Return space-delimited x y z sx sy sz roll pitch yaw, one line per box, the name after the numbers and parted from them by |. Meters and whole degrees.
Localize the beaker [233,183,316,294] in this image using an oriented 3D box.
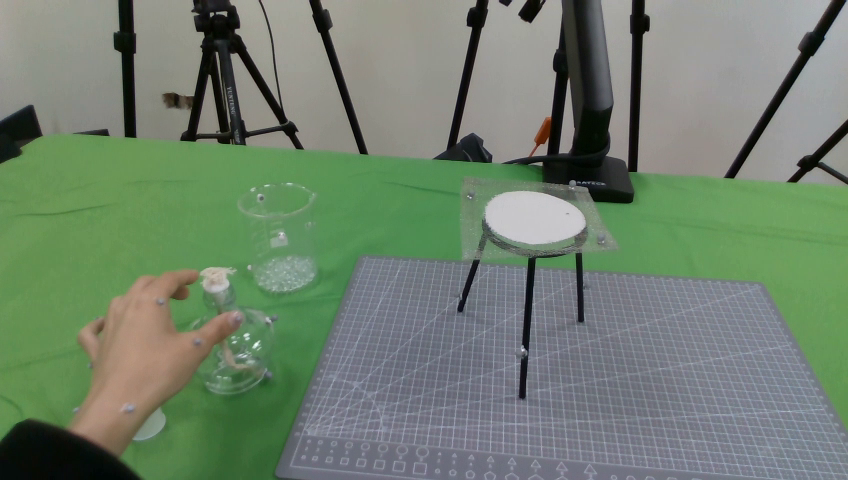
-0.152 -0.001 0.642 0.084 0.101 0.073 -20 38 -28 | beaker

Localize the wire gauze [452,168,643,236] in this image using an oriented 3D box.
0.098 -0.032 0.501 0.125 0.011 0.120 -4 28 -20 | wire gauze

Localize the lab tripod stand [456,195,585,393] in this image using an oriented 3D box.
0.092 0.040 0.544 0.148 0.132 0.147 2 34 -1 | lab tripod stand

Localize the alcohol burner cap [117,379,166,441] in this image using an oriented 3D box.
-0.229 0.133 0.485 0.034 0.048 0.033 2 32 -1 | alcohol burner cap

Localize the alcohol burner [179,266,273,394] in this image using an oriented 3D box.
-0.170 0.072 0.515 0.078 0.120 0.077 2 32 -1 | alcohol burner
